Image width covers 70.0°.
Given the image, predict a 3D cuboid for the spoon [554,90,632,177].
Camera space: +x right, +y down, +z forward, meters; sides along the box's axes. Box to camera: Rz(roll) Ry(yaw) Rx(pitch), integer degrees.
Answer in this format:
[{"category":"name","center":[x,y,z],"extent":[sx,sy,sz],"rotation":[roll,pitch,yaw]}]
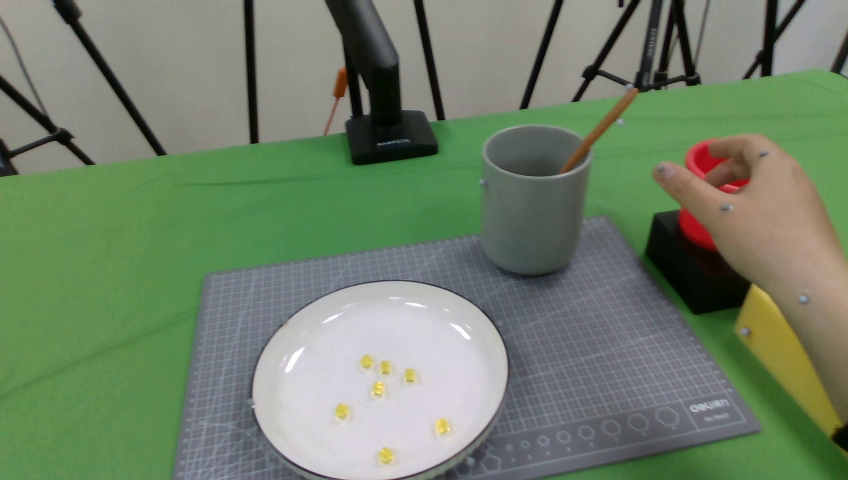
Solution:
[{"category":"spoon","center":[0.135,-0.062,0.585],"extent":[0.022,0.194,0.041],"rotation":[24,32,-11]}]

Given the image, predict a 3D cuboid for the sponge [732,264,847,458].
[{"category":"sponge","center":[0.361,0.110,0.468],"extent":[0.118,0.061,0.204],"rotation":[-11,38,-11]}]

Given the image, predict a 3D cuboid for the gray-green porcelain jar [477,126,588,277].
[{"category":"gray-green porcelain jar","center":[0.106,-0.035,0.612],"extent":[0.106,0.127,0.105],"rotation":[-2,38,2]}]

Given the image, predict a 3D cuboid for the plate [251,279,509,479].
[{"category":"plate","center":[-0.034,0.114,0.502],"extent":[0.207,0.039,0.205],"rotation":[-2,38,2]}]
